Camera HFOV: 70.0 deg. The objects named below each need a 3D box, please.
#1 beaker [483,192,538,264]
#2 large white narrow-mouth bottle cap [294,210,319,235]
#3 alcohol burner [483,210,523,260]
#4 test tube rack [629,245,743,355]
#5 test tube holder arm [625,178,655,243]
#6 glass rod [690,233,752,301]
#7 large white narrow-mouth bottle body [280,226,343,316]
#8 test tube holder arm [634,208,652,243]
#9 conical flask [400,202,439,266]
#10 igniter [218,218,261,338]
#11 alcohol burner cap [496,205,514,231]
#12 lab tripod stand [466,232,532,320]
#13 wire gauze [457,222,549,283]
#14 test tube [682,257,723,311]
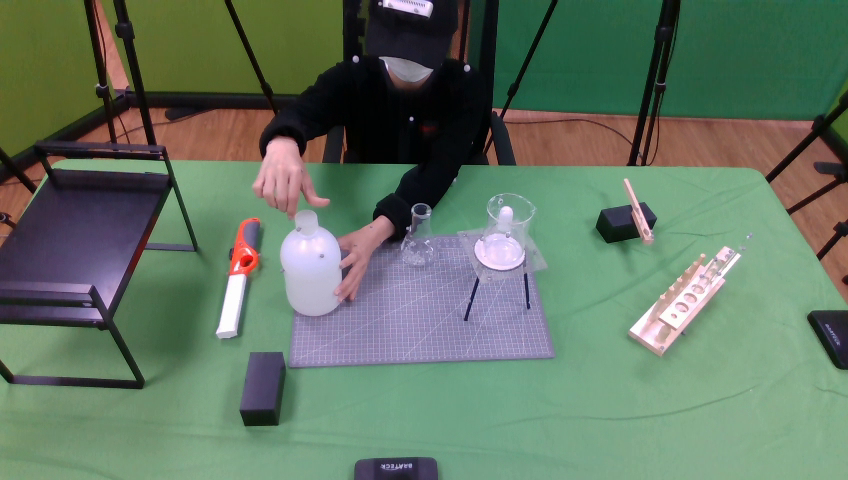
[{"bbox_3d":[0.136,-0.017,0.980,0.084,0.101,0.073,-6,45,-9],"label":"beaker"},{"bbox_3d":[-0.185,-0.028,0.957,0.038,0.024,0.037,2,46,-2],"label":"large white narrow-mouth bottle cap"},{"bbox_3d":[0.152,-0.018,1.156,0.078,0.120,0.077,0,47,0],"label":"alcohol burner"},{"bbox_3d":[0.474,0.095,1.091,0.242,0.085,0.066,-34,57,-31],"label":"test tube rack"},{"bbox_3d":[0.433,-0.063,1.220,0.013,0.015,0.177,2,47,-3],"label":"test tube holder arm"},{"bbox_3d":[0.507,0.053,1.041,0.008,0.200,0.008,5,51,-6],"label":"glass rod"},{"bbox_3d":[-0.191,0.035,1.025,0.102,0.195,0.101,2,46,-2],"label":"large white narrow-mouth bottle body"},{"bbox_3d":[0.428,-0.030,1.189,0.010,0.015,0.087,2,47,-3],"label":"test tube holder arm"},{"bbox_3d":[-0.007,-0.014,1.135,0.075,0.122,0.075,2,46,-2],"label":"conical flask"},{"bbox_3d":[-0.336,0.060,1.111,0.057,0.025,0.274,-7,46,4],"label":"igniter"},{"bbox_3d":[0.153,-0.045,1.131,0.034,0.048,0.033,2,40,-1],"label":"alcohol burner cap"},{"bbox_3d":[0.125,0.059,1.065,0.148,0.132,0.147,1,45,0],"label":"lab tripod stand"},{"bbox_3d":[0.131,0.016,1.017,0.121,0.011,0.124,-10,44,-15],"label":"wire gauze"},{"bbox_3d":[0.475,0.080,1.037,0.017,0.151,0.017,1,50,-1],"label":"test tube"}]
